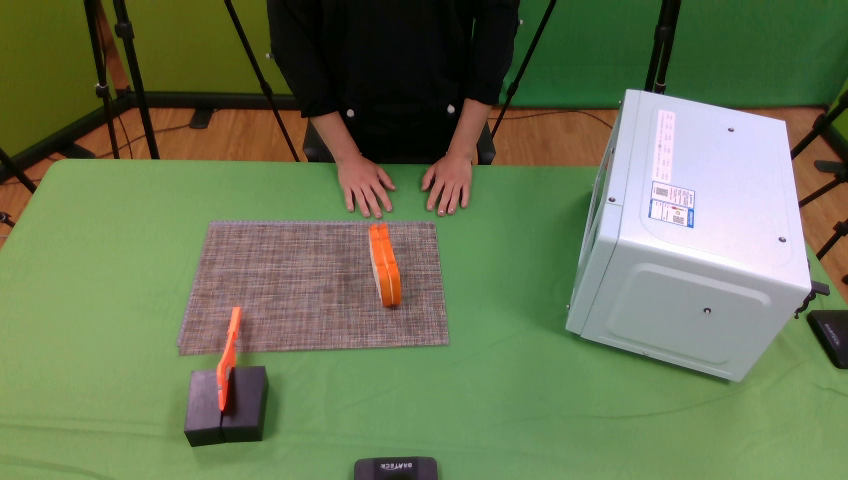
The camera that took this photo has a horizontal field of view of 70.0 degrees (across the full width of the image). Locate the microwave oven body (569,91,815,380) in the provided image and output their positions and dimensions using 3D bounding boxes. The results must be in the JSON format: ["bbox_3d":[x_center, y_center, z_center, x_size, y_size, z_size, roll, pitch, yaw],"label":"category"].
[{"bbox_3d":[0.468,-0.022,1.082,0.325,0.261,0.440,15,46,11],"label":"microwave oven body"}]

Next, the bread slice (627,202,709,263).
[{"bbox_3d":[0.474,-0.022,1.167,0.134,0.018,0.106,-29,55,-16],"label":"bread slice"}]

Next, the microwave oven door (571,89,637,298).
[{"bbox_3d":[0.343,-0.091,1.133,0.039,0.245,0.354,15,47,10],"label":"microwave oven door"}]

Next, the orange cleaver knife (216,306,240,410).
[{"bbox_3d":[-0.307,0.180,0.957,0.012,0.077,0.210,-2,25,-8],"label":"orange cleaver knife"}]

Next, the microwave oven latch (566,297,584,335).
[{"bbox_3d":[0.268,0.126,1.059,0.030,0.029,0.079,16,46,12],"label":"microwave oven latch"}]

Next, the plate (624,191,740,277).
[{"bbox_3d":[0.481,-0.007,1.145,0.208,0.039,0.206,0,48,0],"label":"plate"}]
